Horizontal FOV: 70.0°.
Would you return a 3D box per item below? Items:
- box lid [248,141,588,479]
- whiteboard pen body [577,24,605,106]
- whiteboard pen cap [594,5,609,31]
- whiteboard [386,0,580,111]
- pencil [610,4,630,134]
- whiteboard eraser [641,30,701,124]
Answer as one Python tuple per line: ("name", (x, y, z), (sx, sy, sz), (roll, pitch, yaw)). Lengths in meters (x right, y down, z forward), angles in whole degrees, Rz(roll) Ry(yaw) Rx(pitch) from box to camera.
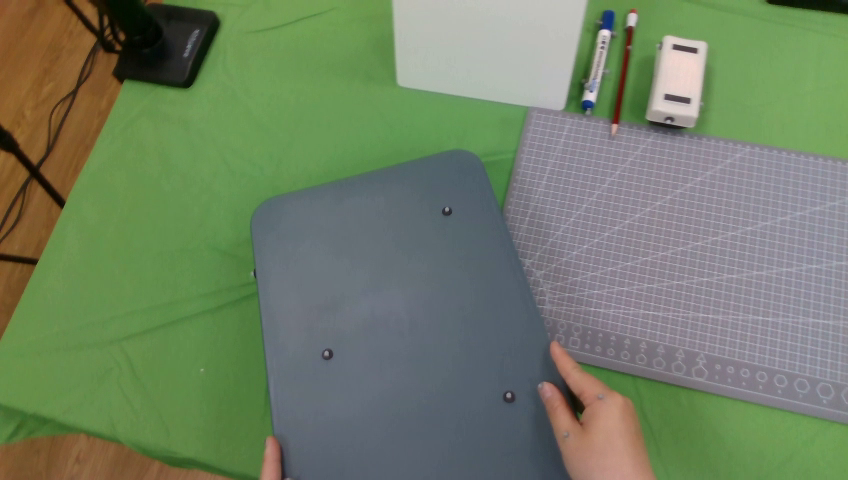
("box lid", (-0.025, 0.070, 0.580), (0.263, 0.015, 0.368), (-15, 61, -2))
("whiteboard pen body", (0.212, -0.231, 0.761), (0.017, 0.017, 0.140), (13, 72, 10))
("whiteboard pen cap", (0.228, -0.284, 0.778), (0.018, 0.018, 0.033), (11, 70, 10))
("whiteboard", (0.078, -0.327, 0.688), (0.216, 0.308, 0.143), (12, 52, 10))
("pencil", (0.244, -0.215, 0.756), (0.012, 0.012, 0.193), (9, 71, 9))
("whiteboard eraser", (0.296, -0.195, 0.728), (0.055, 0.042, 0.112), (11, 72, 11))
